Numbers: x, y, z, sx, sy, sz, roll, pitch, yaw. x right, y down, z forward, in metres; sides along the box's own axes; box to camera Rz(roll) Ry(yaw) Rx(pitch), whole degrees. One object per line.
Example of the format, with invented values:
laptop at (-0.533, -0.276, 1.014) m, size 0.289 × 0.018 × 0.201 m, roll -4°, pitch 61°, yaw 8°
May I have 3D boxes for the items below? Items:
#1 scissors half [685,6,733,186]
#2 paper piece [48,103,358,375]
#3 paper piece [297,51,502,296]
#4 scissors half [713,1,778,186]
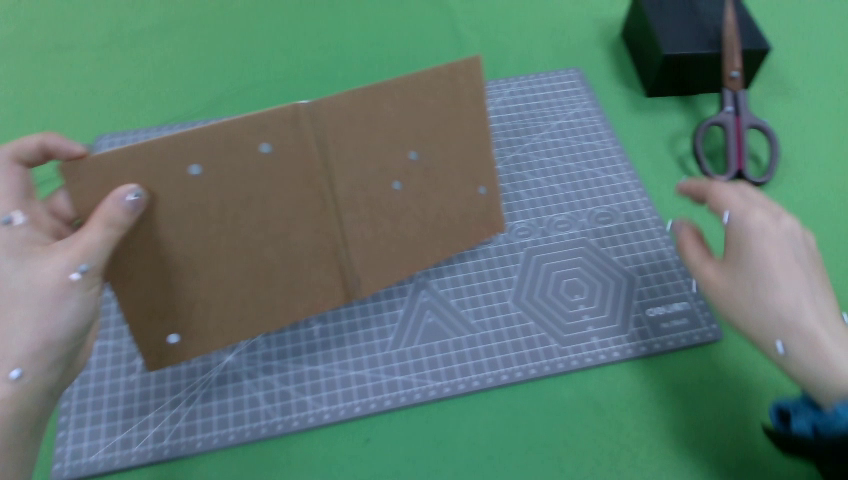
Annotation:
scissors half at (0.252, -0.131, 0.526) m, size 0.040 × 0.013 × 0.174 m, roll 10°, pitch 77°, yaw 3°
paper piece at (-0.121, 0.001, 0.361) m, size 0.138 × 0.137 × 0.008 m, roll -19°, pitch 21°, yaw -16°
paper piece at (-0.006, -0.045, 0.410) m, size 0.136 × 0.136 × 0.004 m, roll -24°, pitch 27°, yaw -26°
scissors half at (0.272, -0.131, 0.525) m, size 0.040 × 0.013 × 0.174 m, roll -7°, pitch 77°, yaw 4°
